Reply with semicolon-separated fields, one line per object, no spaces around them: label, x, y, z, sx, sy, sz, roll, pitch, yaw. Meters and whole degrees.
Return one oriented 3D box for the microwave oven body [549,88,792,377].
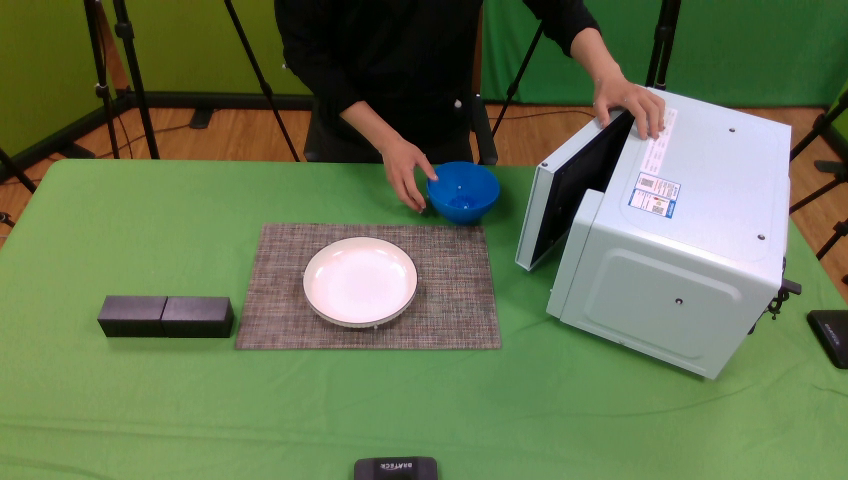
microwave oven body;0.456;-0.028;1.088;0.325;0.261;0.440;20;47;16

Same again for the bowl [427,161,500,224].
bowl;0.077;-0.086;1.248;0.151;0.077;0.150;4;46;-4

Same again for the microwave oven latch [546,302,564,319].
microwave oven latch;0.242;0.102;1.081;0.030;0.029;0.079;21;48;17

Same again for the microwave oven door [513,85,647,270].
microwave oven door;0.304;-0.125;1.164;0.039;0.245;0.355;34;53;25

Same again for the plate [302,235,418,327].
plate;-0.114;0.077;1.098;0.208;0.039;0.206;2;46;-2
